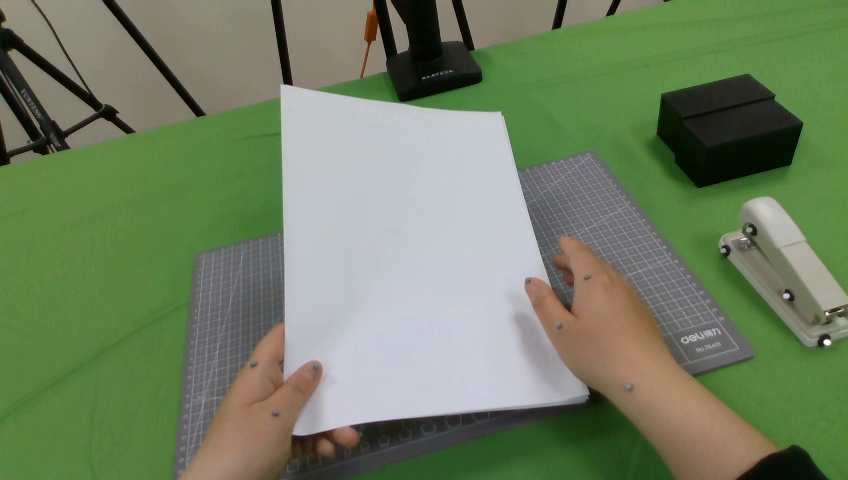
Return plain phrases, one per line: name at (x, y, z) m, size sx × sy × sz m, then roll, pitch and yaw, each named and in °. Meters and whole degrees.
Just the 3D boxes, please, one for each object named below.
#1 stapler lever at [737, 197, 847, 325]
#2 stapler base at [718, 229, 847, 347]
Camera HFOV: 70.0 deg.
stapler lever at (0.293, 0.012, 0.481) m, size 0.027 × 0.040 × 0.116 m, roll -17°, pitch 44°, yaw -3°
stapler base at (0.296, 0.029, 0.500) m, size 0.041 × 0.025 × 0.129 m, roll -17°, pitch 44°, yaw -3°
